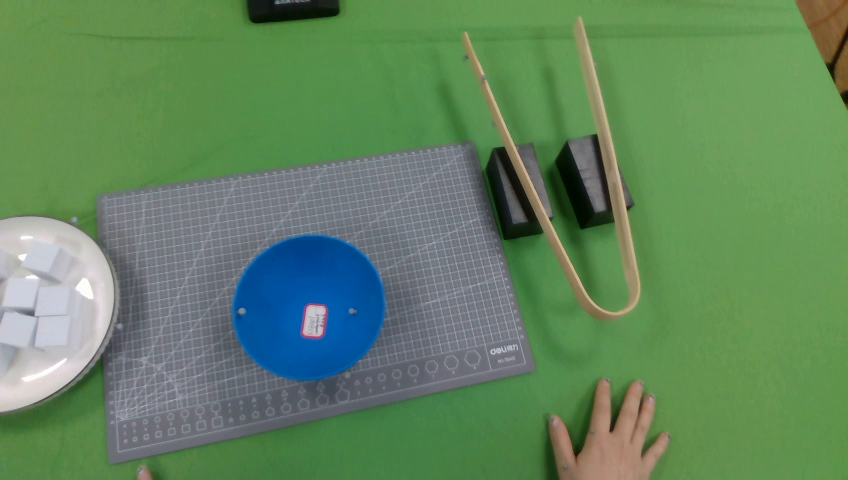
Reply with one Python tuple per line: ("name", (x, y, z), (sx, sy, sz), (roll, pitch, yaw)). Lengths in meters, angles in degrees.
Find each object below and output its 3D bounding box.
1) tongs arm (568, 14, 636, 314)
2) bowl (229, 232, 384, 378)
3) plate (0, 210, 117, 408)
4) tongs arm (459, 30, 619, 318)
("tongs arm", (0.202, -0.102, 0.710), (0.028, 0.028, 0.384), (-1, 70, -10))
("bowl", (-0.119, 0.075, 0.635), (0.151, 0.077, 0.150), (2, 69, -5))
("plate", (-0.424, 0.070, 0.628), (0.208, 0.039, 0.206), (2, 70, -4))
("tongs arm", (0.124, -0.087, 0.699), (0.051, 0.026, 0.382), (-15, 72, -12))
